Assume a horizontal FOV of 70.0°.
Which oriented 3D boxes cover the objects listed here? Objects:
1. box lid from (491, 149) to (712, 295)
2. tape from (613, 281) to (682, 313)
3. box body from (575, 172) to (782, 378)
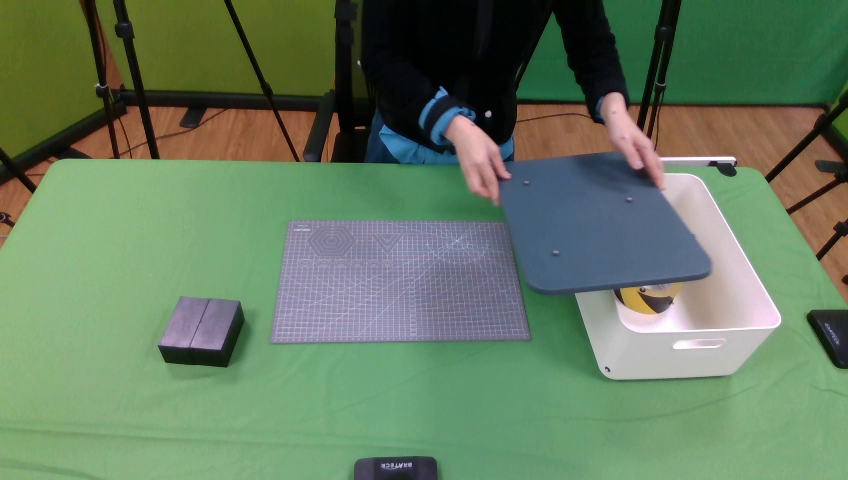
[{"bbox_3d":[0.260,-0.044,0.967,0.263,0.015,0.369,-6,36,-1],"label":"box lid"},{"bbox_3d":[0.412,0.076,1.123,0.117,0.053,0.116,4,48,-4],"label":"tape"},{"bbox_3d":[0.405,0.057,1.074,0.254,0.161,0.361,-2,46,-5],"label":"box body"}]
